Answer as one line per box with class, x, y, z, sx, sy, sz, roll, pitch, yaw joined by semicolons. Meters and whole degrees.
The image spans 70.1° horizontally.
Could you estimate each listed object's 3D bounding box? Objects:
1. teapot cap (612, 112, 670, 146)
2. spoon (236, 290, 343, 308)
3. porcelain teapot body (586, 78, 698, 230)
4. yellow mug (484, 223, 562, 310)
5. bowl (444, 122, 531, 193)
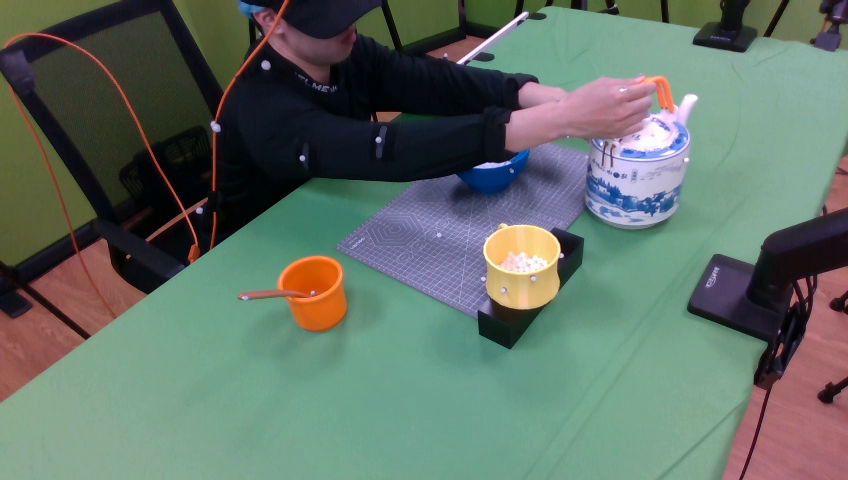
teapot cap;0.323;-0.167;0.900;0.085;0.044;0.085;-3;38;3
spoon;-0.175;0.076;0.808;0.041;0.195;0.021;23;94;30
porcelain teapot body;0.349;-0.150;0.937;0.206;0.226;0.144;-31;45;-26
yellow mug;0.126;0.025;0.811;0.100;0.064;0.130;-16;39;-9
bowl;0.113;-0.136;1.064;0.151;0.077;0.150;-4;41;4
